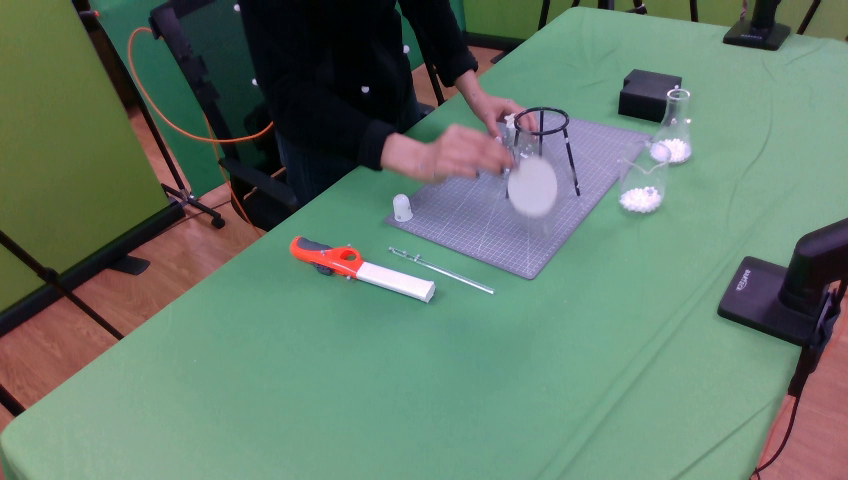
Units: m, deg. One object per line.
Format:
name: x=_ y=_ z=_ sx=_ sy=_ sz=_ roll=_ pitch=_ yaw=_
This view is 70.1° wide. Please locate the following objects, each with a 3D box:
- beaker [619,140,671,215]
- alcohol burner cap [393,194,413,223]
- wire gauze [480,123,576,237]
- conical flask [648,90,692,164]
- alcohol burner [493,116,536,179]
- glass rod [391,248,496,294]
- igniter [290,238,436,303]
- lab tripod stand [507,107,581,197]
beaker: x=0.352 y=-0.096 z=0.971 sx=0.074 sy=0.101 sz=0.084 roll=1 pitch=42 yaw=13
alcohol burner cap: x=-0.038 y=-0.056 z=1.038 sx=0.034 sy=0.048 sz=0.033 roll=-6 pitch=41 yaw=6
wire gauze: x=0.154 y=-0.084 z=0.861 sx=0.125 sy=0.122 sz=0.011 roll=-62 pitch=22 yaw=-14
conical flask: x=0.437 y=-0.199 z=1.057 sx=0.075 sy=0.122 sz=0.075 roll=-5 pitch=40 yaw=5
alcohol burner: x=0.161 y=-0.169 z=1.078 sx=0.078 sy=0.119 sz=0.077 roll=-5 pitch=42 yaw=5
glass rod: x=0.026 y=0.045 z=0.936 sx=0.198 sy=0.008 sz=0.008 roll=21 pitch=49 yaw=31
igniter: x=-0.106 y=0.043 z=0.949 sx=0.274 sy=0.025 sz=0.057 roll=16 pitch=57 yaw=27
lab tripod stand: x=0.201 y=-0.151 z=1.033 sx=0.148 sy=0.132 sz=0.147 roll=-7 pitch=38 yaw=6
